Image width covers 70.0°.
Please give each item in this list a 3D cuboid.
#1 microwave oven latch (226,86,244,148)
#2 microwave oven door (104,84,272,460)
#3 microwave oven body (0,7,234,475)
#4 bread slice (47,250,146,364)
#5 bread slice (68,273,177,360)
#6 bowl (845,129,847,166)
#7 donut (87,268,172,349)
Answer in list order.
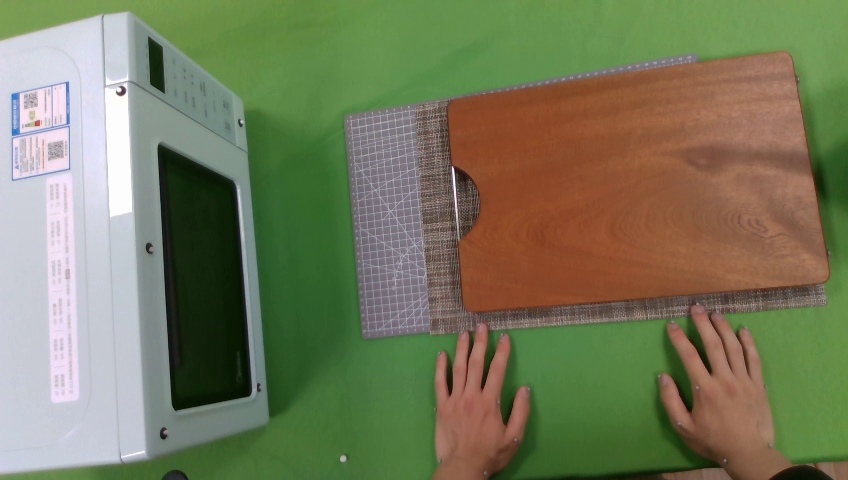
[{"bbox_3d":[-0.260,-0.161,0.804,0.030,0.029,0.079,-10,81,9],"label":"microwave oven latch"},{"bbox_3d":[-0.253,0.038,0.671,0.039,0.245,0.354,-10,80,10],"label":"microwave oven door"},{"bbox_3d":[-0.400,0.022,0.708,0.325,0.261,0.440,-10,81,9],"label":"microwave oven body"},{"bbox_3d":[-0.371,0.085,0.679,0.134,0.018,0.106,-23,81,22],"label":"bread slice"},{"bbox_3d":[-0.379,0.094,0.757,0.131,0.019,0.105,4,89,3],"label":"bread slice"},{"bbox_3d":[0.517,-0.093,0.639,0.151,0.077,0.151,-2,82,12],"label":"bowl"},{"bbox_3d":[-0.352,0.082,0.725,0.099,0.048,0.099,0,98,-1],"label":"donut"}]
